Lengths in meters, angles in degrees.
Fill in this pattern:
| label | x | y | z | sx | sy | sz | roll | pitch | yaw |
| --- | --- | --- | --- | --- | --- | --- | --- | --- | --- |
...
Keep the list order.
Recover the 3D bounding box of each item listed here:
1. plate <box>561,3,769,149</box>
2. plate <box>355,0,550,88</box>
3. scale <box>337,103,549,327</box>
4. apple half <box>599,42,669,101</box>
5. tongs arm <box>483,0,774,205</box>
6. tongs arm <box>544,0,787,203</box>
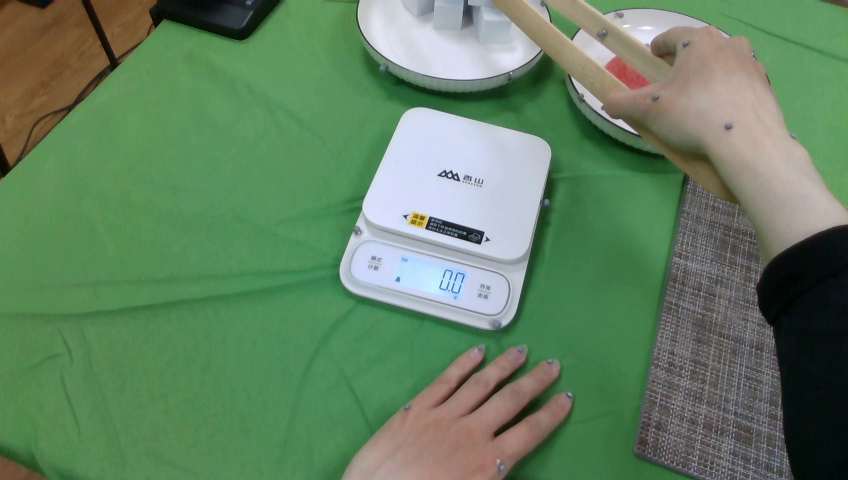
| label | x | y | z | sx | sy | sz | roll | pitch | yaw |
| --- | --- | --- | --- | --- | --- | --- | --- | --- | --- |
| plate | 0.242 | -0.165 | 0.625 | 0.209 | 0.038 | 0.207 | 2 | 56 | -2 |
| plate | 0.030 | -0.234 | 0.657 | 0.208 | 0.039 | 0.205 | 2 | 57 | -2 |
| scale | 0.022 | -0.030 | 0.527 | 0.148 | 0.032 | 0.199 | 15 | 57 | 6 |
| apple half | 0.226 | -0.181 | 0.627 | 0.081 | 0.033 | 0.080 | 1 | 53 | -1 |
| tongs arm | 0.129 | -0.158 | 0.517 | 0.028 | 0.028 | 0.383 | -18 | 52 | -26 |
| tongs arm | 0.159 | -0.168 | 0.529 | 0.051 | 0.027 | 0.380 | -21 | 54 | -24 |
